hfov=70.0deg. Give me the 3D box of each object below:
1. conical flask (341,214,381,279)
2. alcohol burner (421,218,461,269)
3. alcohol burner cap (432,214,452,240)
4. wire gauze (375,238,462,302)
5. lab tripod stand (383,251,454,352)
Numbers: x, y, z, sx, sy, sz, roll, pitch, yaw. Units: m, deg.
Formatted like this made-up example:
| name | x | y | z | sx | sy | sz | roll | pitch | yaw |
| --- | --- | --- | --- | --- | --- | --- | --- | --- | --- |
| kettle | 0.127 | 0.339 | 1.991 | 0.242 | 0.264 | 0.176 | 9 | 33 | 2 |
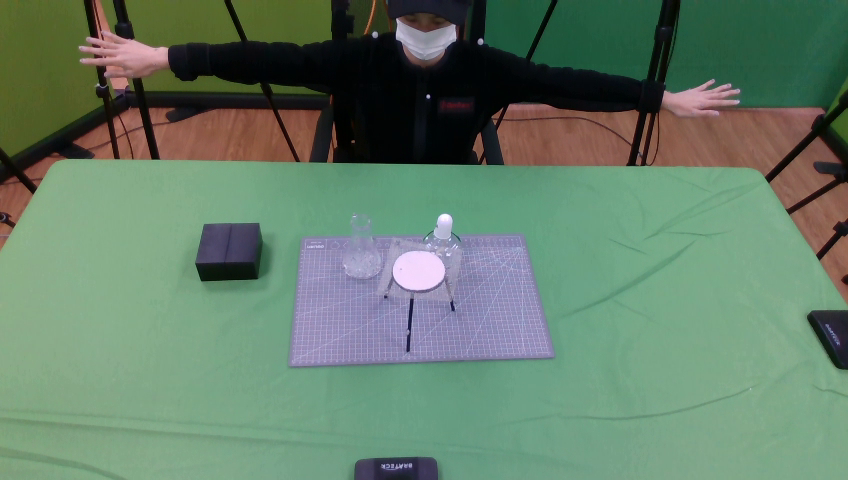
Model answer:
| name | x | y | z | sx | sy | sz | roll | pitch | yaw |
| --- | --- | --- | --- | --- | --- | --- | --- | --- | --- |
| conical flask | -0.116 | 0.009 | 1.107 | 0.075 | 0.122 | 0.075 | 2 | 46 | -2 |
| alcohol burner | 0.033 | -0.001 | 1.135 | 0.078 | 0.119 | 0.077 | 3 | 48 | -3 |
| alcohol burner cap | 0.035 | -0.027 | 1.110 | 0.034 | 0.048 | 0.033 | 7 | 42 | -6 |
| wire gauze | -0.006 | 0.048 | 0.977 | 0.121 | 0.011 | 0.124 | 9 | 45 | 5 |
| lab tripod stand | -0.015 | 0.094 | 1.025 | 0.148 | 0.132 | 0.147 | 1 | 46 | -1 |
